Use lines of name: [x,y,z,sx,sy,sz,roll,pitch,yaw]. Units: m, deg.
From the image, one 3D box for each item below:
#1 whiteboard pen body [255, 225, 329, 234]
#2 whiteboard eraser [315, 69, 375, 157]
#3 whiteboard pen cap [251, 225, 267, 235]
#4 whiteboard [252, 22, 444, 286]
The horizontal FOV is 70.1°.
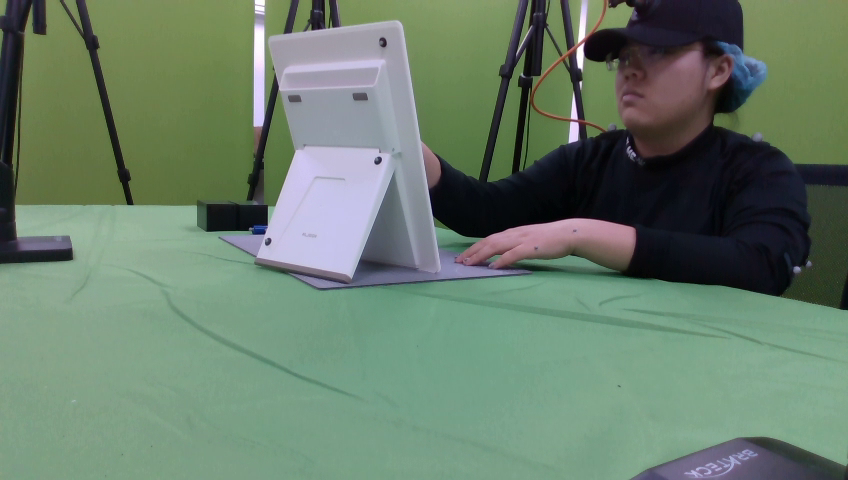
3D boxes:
whiteboard pen body: [-0.239,-0.019,1.105,0.141,0.017,0.017,-2,9,-34]
whiteboard eraser: [-0.106,-0.167,0.804,0.055,0.113,0.042,3,29,31]
whiteboard pen cap: [-0.288,-0.019,1.071,0.033,0.018,0.018,-3,9,-35]
whiteboard: [-0.125,-0.081,0.714,0.216,0.305,0.144,9,29,36]
